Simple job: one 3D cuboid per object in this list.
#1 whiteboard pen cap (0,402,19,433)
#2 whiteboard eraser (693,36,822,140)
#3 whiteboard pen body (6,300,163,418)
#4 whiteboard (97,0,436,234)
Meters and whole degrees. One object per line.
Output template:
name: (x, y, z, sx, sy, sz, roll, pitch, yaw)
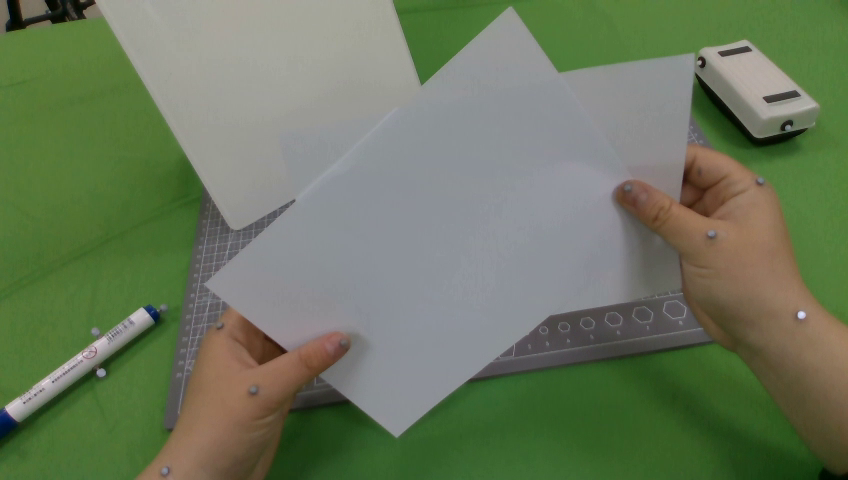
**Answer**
whiteboard pen cap: (-0.292, 0.124, 0.409, 0.018, 0.018, 0.033, 33, 60, 30)
whiteboard eraser: (0.291, -0.135, 0.538, 0.055, 0.042, 0.111, -15, 50, -3)
whiteboard pen body: (-0.252, 0.091, 0.434, 0.017, 0.017, 0.140, 33, 60, 30)
whiteboard: (-0.156, -0.203, 0.522, 0.217, 0.308, 0.142, -33, 33, -18)
